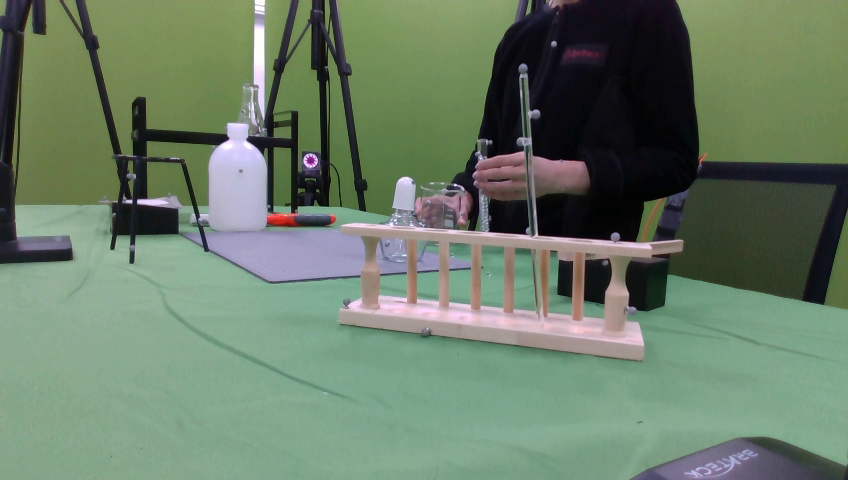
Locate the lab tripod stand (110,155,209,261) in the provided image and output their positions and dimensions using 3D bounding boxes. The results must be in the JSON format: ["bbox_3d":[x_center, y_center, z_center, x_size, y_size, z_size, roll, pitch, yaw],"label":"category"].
[{"bbox_3d":[-0.361,-0.046,0.806,0.148,0.131,0.148,2,5,0],"label":"lab tripod stand"}]

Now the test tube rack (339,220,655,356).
[{"bbox_3d":[0.056,0.032,0.495,0.242,0.085,0.067,4,7,15],"label":"test tube rack"}]

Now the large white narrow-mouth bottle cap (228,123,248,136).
[{"bbox_3d":[-0.338,-0.200,1.097,0.038,0.024,0.037,2,8,0],"label":"large white narrow-mouth bottle cap"}]

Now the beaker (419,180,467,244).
[{"bbox_3d":[0.031,-0.048,1.035,0.084,0.100,0.074,8,17,19],"label":"beaker"}]

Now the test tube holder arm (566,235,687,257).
[{"bbox_3d":[0.215,0.006,0.630,0.179,0.015,0.013,-3,9,-31],"label":"test tube holder arm"}]

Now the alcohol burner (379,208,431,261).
[{"bbox_3d":[-0.027,-0.031,0.838,0.078,0.119,0.078,0,6,0],"label":"alcohol burner"}]

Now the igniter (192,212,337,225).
[{"bbox_3d":[-0.312,-0.043,1.203,0.278,0.025,0.057,-1,-5,-25],"label":"igniter"}]

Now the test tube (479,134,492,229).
[{"bbox_3d":[0.094,-0.085,0.919,0.017,0.150,0.017,-3,20,1],"label":"test tube"}]

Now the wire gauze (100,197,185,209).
[{"bbox_3d":[-0.469,-0.062,1.008,0.126,0.011,0.121,-2,8,-25],"label":"wire gauze"}]

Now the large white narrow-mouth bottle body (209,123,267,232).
[{"bbox_3d":[-0.340,-0.115,1.109,0.102,0.194,0.102,2,8,0],"label":"large white narrow-mouth bottle body"}]

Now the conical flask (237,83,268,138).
[{"bbox_3d":[-0.402,-0.299,1.406,0.075,0.122,0.075,2,7,0],"label":"conical flask"}]

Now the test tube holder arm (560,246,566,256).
[{"bbox_3d":[0.173,0.007,0.611,0.088,0.015,0.010,-3,9,-30],"label":"test tube holder arm"}]

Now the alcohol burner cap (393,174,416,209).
[{"bbox_3d":[-0.025,-0.067,0.834,0.034,0.048,0.034,8,7,-1],"label":"alcohol burner cap"}]

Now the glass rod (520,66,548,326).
[{"bbox_3d":[0.084,-0.029,0.458,0.008,0.199,0.008,-6,11,2],"label":"glass rod"}]
